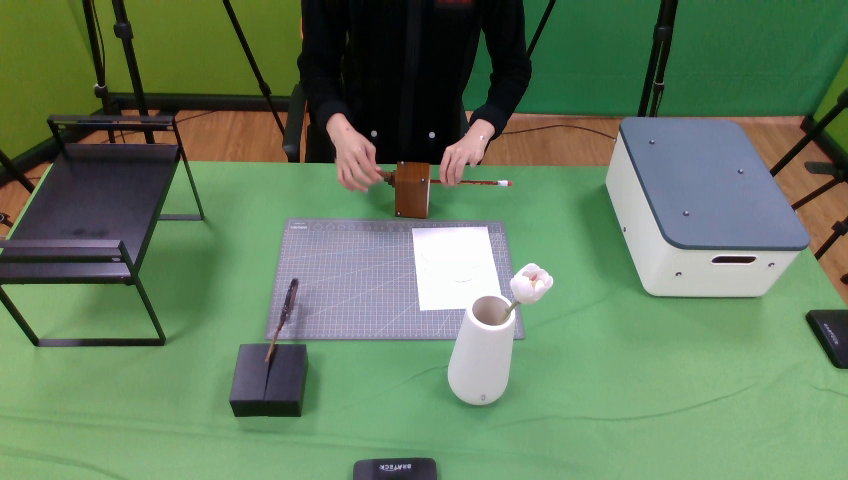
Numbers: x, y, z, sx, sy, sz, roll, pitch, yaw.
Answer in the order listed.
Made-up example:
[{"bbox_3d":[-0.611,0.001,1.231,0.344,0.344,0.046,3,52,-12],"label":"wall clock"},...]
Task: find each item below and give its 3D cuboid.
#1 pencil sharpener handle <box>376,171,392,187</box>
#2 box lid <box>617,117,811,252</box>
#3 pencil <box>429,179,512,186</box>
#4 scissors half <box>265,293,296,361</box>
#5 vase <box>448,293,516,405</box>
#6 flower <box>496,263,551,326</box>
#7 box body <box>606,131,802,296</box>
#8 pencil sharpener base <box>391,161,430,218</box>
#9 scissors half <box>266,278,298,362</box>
[{"bbox_3d":[-0.078,-0.126,1.200,0.030,0.068,0.036,4,88,0],"label":"pencil sharpener handle"},{"bbox_3d":[0.534,-0.117,1.148,0.263,0.015,0.369,0,47,-3],"label":"box lid"},{"bbox_3d":[0.080,-0.117,1.216,0.194,0.012,0.012,2,46,1],"label":"pencil"},{"bbox_3d":[-0.239,0.143,1.004,0.013,0.040,0.174,17,28,-6],"label":"scissors half"},{"bbox_3d":[0.091,0.169,0.921,0.098,0.201,0.097,3,47,-3],"label":"vase"},{"bbox_3d":[0.102,0.120,0.853,0.044,0.363,0.038,-1,64,-10],"label":"flower"},{"bbox_3d":[0.530,-0.067,1.204,0.254,0.161,0.361,0,46,-4],"label":"box body"},{"bbox_3d":[-0.028,-0.103,1.236,0.077,0.107,0.061,3,47,0],"label":"pencil sharpener base"},{"bbox_3d":[-0.234,0.127,0.993,0.013,0.040,0.174,13,46,-3],"label":"scissors half"}]
